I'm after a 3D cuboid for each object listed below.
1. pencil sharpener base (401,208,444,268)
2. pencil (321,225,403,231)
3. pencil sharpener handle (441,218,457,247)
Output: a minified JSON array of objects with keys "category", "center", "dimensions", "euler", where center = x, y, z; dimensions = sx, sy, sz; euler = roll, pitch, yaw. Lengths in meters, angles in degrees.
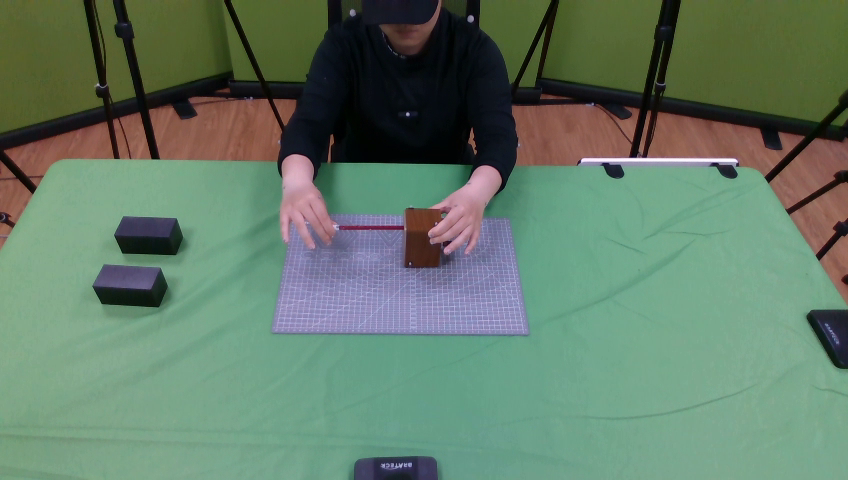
[{"category":"pencil sharpener base","center":[-0.003,-0.002,1.137],"dimensions":[0.077,0.107,0.061],"euler":[0,45,-5]},{"category":"pencil","center":[-0.090,-0.022,1.111],"dimensions":[0.194,0.012,0.012],"euler":[-1,46,-6]},{"category":"pencil sharpener handle","center":[0.048,-0.012,1.133],"dimensions":[0.031,0.068,0.036],"euler":[0,47,-5]}]
